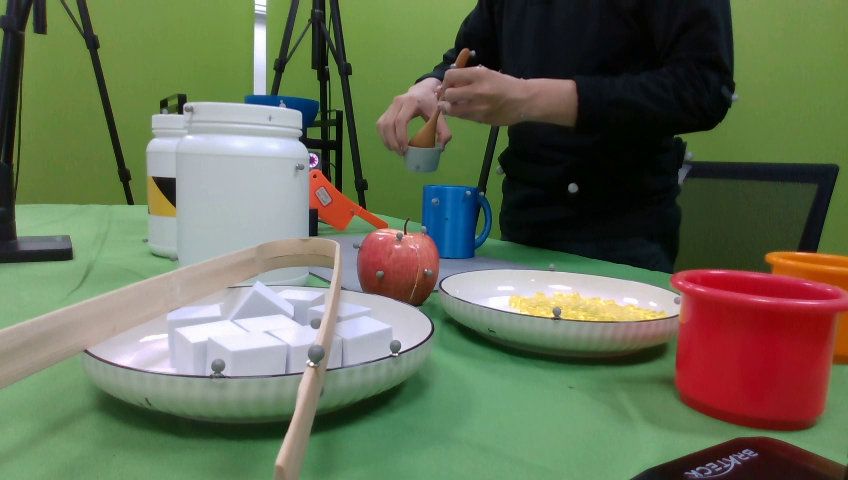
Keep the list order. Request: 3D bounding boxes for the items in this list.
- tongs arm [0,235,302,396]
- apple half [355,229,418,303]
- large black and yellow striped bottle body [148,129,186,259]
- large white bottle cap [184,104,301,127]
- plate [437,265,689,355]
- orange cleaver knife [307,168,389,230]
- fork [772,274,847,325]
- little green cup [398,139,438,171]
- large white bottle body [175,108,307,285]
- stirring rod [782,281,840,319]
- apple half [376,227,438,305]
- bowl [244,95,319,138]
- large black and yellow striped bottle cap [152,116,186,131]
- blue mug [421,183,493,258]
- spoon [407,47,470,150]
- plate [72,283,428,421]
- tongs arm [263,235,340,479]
[{"bbox_3d":[-0.158,0.038,0.351,0.028,0.028,0.388,-3,8,12],"label":"tongs arm"},{"bbox_3d":[-0.043,0.027,0.564,0.081,0.081,0.033,9,5,42],"label":"apple half"},{"bbox_3d":[-0.310,-0.073,0.838,0.131,0.184,0.130,2,8,0],"label":"large black and yellow striped bottle body"},{"bbox_3d":[-0.184,-0.126,0.618,0.115,0.018,0.115,2,8,0],"label":"large white bottle cap"},{"bbox_3d":[0.114,0.057,0.517,0.209,0.038,0.209,3,8,0],"label":"plate"},{"bbox_3d":[-0.158,-0.060,1.166,0.212,0.077,0.012,34,-12,-32],"label":"orange cleaver knife"},{"bbox_3d":[0.332,0.018,0.443,0.028,0.018,0.207,-1,-36,-15],"label":"fork"},{"bbox_3d":[-0.008,-0.132,0.934,0.061,0.038,0.061,-10,19,4],"label":"little green cup"},{"bbox_3d":[-0.188,-0.042,0.630,0.131,0.184,0.130,2,8,0],"label":"large white bottle body"},{"bbox_3d":[0.344,0.019,0.460,0.014,0.006,0.176,-13,-27,-30],"label":"stirring rod"},{"bbox_3d":[-0.017,0.026,0.593,0.080,0.074,0.054,4,2,43],"label":"apple half"},{"bbox_3d":[-0.293,-0.251,1.249,0.151,0.077,0.151,2,8,0],"label":"bowl"},{"bbox_3d":[-0.309,-0.155,0.826,0.115,0.019,0.115,3,6,0],"label":"large black and yellow striped bottle cap"},{"bbox_3d":[0.052,-0.032,0.912,0.117,0.106,0.082,-1,8,-24],"label":"blue mug"},{"bbox_3d":[0.021,-0.194,0.870,0.042,0.193,0.021,24,37,-5],"label":"spoon"},{"bbox_3d":[-0.102,0.066,0.381,0.208,0.039,0.207,2,7,0],"label":"plate"},{"bbox_3d":[-0.074,0.039,0.349,0.051,0.026,0.384,-2,10,-3],"label":"tongs arm"}]
